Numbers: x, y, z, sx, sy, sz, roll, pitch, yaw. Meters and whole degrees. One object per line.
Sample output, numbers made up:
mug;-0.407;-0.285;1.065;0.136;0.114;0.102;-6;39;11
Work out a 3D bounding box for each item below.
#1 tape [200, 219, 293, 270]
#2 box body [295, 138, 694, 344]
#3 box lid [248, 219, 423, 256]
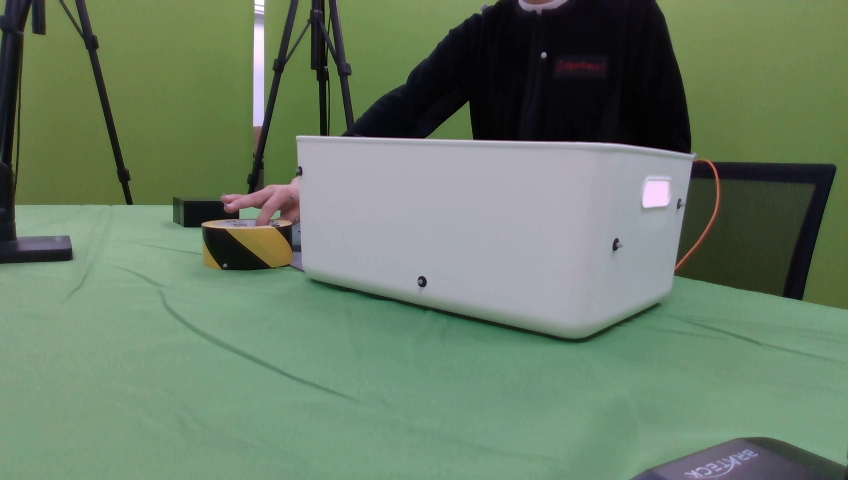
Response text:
tape;-0.228;0.004;0.777;0.117;0.052;0.117;1;8;0
box body;0.065;-0.020;0.653;0.362;0.160;0.255;9;9;36
box lid;-0.146;-0.008;1.066;0.264;0.015;0.371;3;7;-6
